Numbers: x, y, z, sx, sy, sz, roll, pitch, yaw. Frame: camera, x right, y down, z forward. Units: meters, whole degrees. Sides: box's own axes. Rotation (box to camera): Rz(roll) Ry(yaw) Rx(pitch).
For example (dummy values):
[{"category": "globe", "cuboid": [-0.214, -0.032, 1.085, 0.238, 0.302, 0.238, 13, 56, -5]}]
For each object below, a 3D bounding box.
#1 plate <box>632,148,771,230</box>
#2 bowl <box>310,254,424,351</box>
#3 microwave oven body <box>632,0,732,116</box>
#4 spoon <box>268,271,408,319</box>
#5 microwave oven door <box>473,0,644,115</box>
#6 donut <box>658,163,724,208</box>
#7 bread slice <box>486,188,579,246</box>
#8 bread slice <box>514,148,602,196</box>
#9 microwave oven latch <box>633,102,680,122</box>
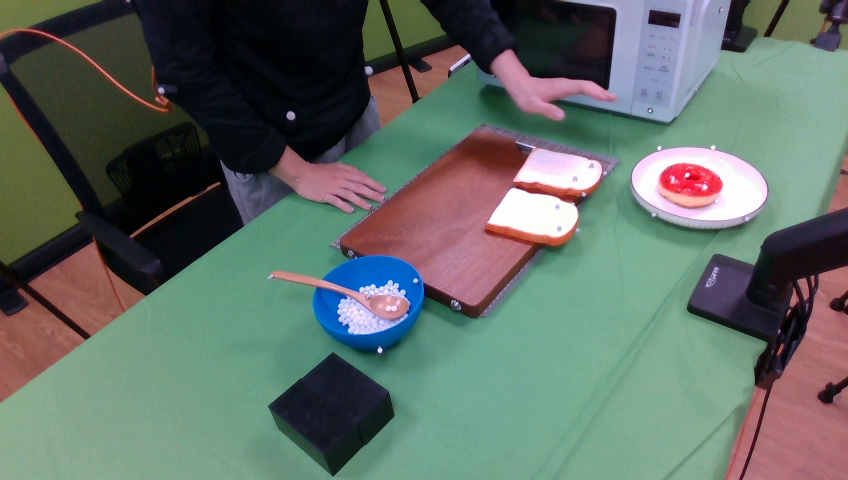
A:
[{"category": "plate", "cuboid": [0.447, -0.081, 0.988, 0.207, 0.039, 0.206, -4, 40, 4]}, {"category": "bowl", "cuboid": [-0.071, 0.098, 0.821, 0.151, 0.077, 0.150, -4, 40, 4]}, {"category": "microwave oven body", "cuboid": [0.377, -0.462, 1.267, 0.438, 0.261, 0.327, 21, 48, 30]}, {"category": "spoon", "cuboid": [-0.116, 0.069, 0.813, 0.194, 0.021, 0.041, 18, 39, 1]}, {"category": "microwave oven door", "cuboid": [0.257, -0.396, 1.199, 0.353, 0.245, 0.039, 21, 48, 29]}, {"category": "donut", "cuboid": [0.432, -0.090, 0.982, 0.099, 0.048, 0.098, -3, 38, 3]}, {"category": "bread slice", "cuboid": [0.176, -0.038, 0.946, 0.131, 0.019, 0.105, 16, 47, 23]}, {"category": "bread slice", "cuboid": [0.233, -0.114, 1.027, 0.133, 0.018, 0.107, 13, 45, 21]}, {"category": "microwave oven latch", "cuboid": [0.443, -0.249, 1.157, 0.078, 0.029, 0.030, 21, 49, 30]}]
